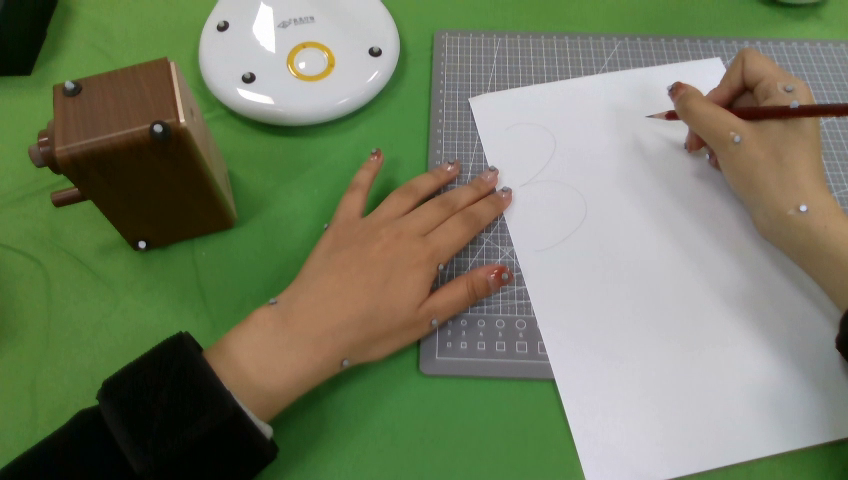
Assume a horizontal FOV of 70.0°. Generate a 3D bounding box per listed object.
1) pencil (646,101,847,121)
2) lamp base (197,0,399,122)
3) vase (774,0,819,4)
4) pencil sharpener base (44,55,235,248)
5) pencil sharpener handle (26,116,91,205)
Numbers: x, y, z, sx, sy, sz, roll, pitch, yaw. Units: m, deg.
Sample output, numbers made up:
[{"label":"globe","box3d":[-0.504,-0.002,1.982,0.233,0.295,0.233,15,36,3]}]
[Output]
[{"label":"pencil","box3d":[0.216,-0.079,0.372,0.012,0.012,0.192,-40,26,-20]},{"label":"lamp base","box3d":[-0.108,-0.206,0.429,0.161,0.182,0.177,-26,61,-14]},{"label":"vase","box3d":[0.322,-0.288,0.466,0.098,0.201,0.097,-1,59,1]},{"label":"pencil sharpener base","box3d":[-0.174,-0.050,0.382,0.077,0.108,0.061,-17,62,-9]},{"label":"pencil sharpener handle","box3d":[-0.223,-0.043,0.364,0.031,0.068,0.035,-17,64,-8]}]
